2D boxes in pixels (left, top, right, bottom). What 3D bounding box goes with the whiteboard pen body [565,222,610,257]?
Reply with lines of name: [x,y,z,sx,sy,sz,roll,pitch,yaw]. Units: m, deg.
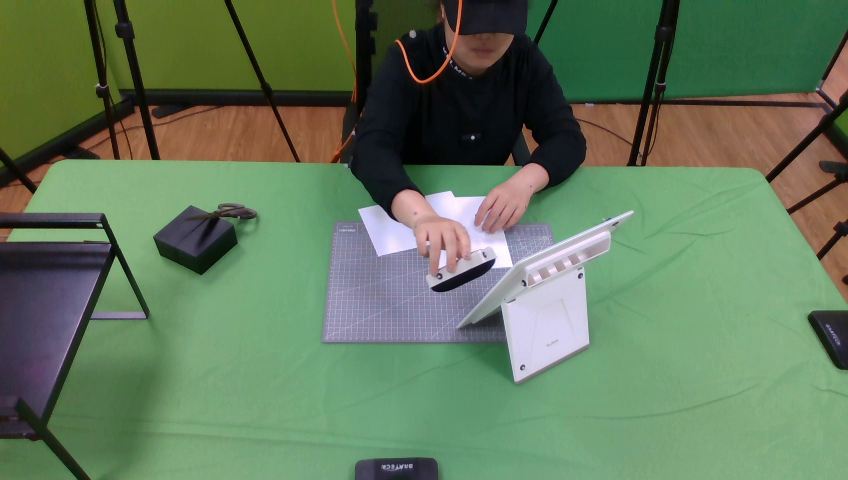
whiteboard pen body: [0.335,-0.004,1.228,0.141,0.017,0.017,-33,56,-29]

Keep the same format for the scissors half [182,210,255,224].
scissors half: [-0.389,-0.043,1.158,0.040,0.013,0.175,39,21,23]

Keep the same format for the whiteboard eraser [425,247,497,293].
whiteboard eraser: [0.061,0.050,0.971,0.056,0.112,0.041,-6,71,-60]

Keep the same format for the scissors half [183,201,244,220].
scissors half: [-0.405,-0.054,1.163,0.040,0.013,0.175,28,18,7]

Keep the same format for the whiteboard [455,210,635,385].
whiteboard: [0.211,0.111,0.955,0.217,0.306,0.143,-21,72,-23]

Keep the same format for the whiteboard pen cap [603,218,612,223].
whiteboard pen cap: [0.379,-0.031,1.255,0.033,0.018,0.018,-33,57,-29]
